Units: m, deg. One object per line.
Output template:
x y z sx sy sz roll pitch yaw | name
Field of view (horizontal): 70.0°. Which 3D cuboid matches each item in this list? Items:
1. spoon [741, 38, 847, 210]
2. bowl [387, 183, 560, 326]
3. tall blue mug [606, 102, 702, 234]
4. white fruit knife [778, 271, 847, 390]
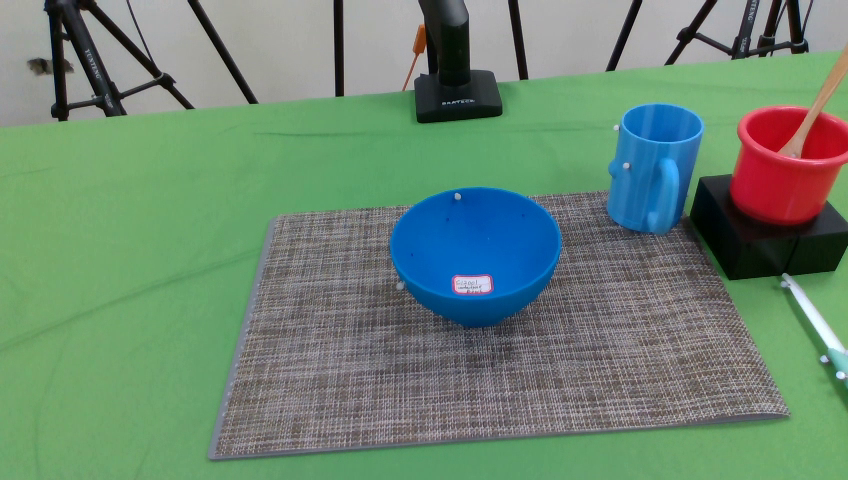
0.353 -0.113 0.553 0.041 0.022 0.194 33 98 37 | spoon
0.045 0.025 0.552 0.151 0.077 0.150 -3 42 3 | bowl
0.237 -0.065 0.609 0.078 0.109 0.106 -18 43 -14 | tall blue mug
0.340 0.096 0.494 0.027 0.016 0.205 16 37 -16 | white fruit knife
